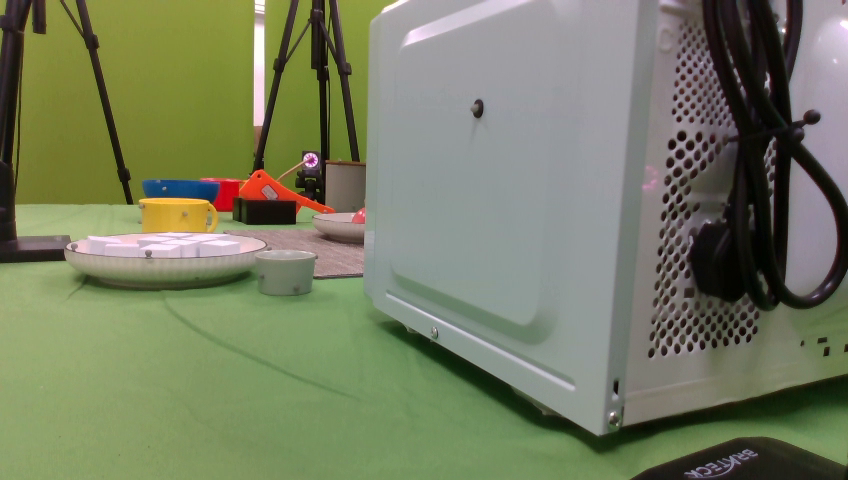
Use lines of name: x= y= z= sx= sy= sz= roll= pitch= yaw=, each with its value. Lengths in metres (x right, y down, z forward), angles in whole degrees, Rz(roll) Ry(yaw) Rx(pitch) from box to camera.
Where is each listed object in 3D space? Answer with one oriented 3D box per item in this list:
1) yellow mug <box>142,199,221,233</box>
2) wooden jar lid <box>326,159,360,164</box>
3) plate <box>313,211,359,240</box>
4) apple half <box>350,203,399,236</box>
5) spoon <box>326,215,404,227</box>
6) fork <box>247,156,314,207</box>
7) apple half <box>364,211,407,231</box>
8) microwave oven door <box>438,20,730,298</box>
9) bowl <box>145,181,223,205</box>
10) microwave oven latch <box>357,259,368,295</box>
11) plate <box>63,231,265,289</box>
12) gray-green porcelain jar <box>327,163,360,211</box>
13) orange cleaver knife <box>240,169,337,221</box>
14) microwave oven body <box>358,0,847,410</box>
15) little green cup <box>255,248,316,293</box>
yellow mug: x=-0.373 y=-0.030 z=0.948 sx=0.099 sy=0.064 sz=0.131 roll=6 pitch=7 yaw=30
wooden jar lid: x=-0.185 y=-0.187 z=1.481 sx=0.108 sy=0.020 sz=0.108 roll=4 pitch=6 yaw=0
plate: x=-0.091 y=-0.026 z=1.063 sx=0.209 sy=0.038 sz=0.209 roll=2 pitch=7 yaw=0
apple half: x=-0.082 y=-0.036 z=1.024 sx=0.081 sy=0.053 sz=0.074 roll=-3 pitch=11 yaw=-34
spoon: x=-0.118 y=-0.043 z=1.269 sx=0.195 sy=0.021 sz=0.041 roll=-8 pitch=2 yaw=-39
fork: x=-0.360 y=-0.147 z=1.523 sx=0.207 sy=0.018 sz=0.028 roll=-43 pitch=15 yaw=-7
apple half: x=-0.068 y=-0.037 z=1.103 sx=0.081 sy=0.033 sz=0.081 roll=-1 pitch=9 yaw=0
microwave oven door: x=0.181 y=-0.076 z=0.618 sx=0.358 sy=0.243 sz=0.039 roll=-2 pitch=8 yaw=-28
bowl: x=-0.499 y=-0.081 z=1.261 sx=0.151 sy=0.077 sz=0.151 roll=2 pitch=8 yaw=0
microwave oven latch: x=-0.019 y=0.031 z=0.529 sx=0.079 sy=0.029 sz=0.030 roll=-1 pitch=7 yaw=-26
plate: x=-0.288 y=0.021 z=0.687 sx=0.208 sy=0.039 sz=0.207 roll=2 pitch=8 yaw=0
gray-green porcelain jar: x=-0.187 y=-0.125 z=1.490 sx=0.106 sy=0.126 sz=0.106 roll=2 pitch=8 yaw=0
orange cleaver knife: x=-0.287 y=-0.082 z=1.299 sx=0.212 sy=0.077 sz=0.012 roll=25 pitch=-2 yaw=-31
microwave oven body: x=0.210 y=-0.051 z=0.471 sx=0.444 sy=0.260 sz=0.324 roll=-1 pitch=7 yaw=-28
little green cup: x=-0.144 y=0.031 z=0.627 sx=0.061 sy=0.038 sz=0.061 roll=2 pitch=6 yaw=0
